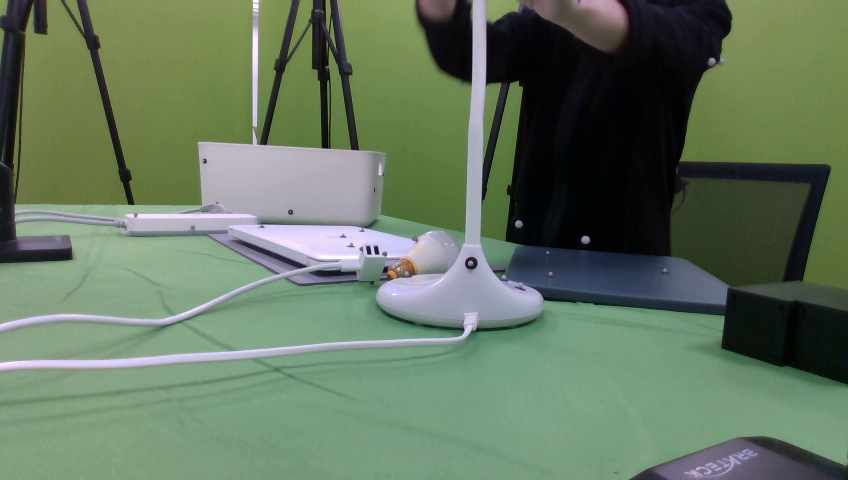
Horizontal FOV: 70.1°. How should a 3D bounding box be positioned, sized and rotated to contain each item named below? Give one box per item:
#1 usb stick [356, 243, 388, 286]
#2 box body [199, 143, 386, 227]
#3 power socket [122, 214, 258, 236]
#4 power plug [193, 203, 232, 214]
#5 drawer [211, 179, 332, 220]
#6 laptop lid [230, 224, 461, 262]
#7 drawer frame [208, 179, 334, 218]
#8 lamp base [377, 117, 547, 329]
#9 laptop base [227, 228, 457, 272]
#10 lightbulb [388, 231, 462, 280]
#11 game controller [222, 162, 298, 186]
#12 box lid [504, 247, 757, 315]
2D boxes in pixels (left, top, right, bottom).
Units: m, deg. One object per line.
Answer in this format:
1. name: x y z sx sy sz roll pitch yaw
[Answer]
1. usb stick: -0.058 0.029 0.658 0.027 0.059 0.021 -5 52 -18
2. box body: -0.276 -0.124 1.335 0.364 0.160 0.254 3 7 1
3. power socket: -0.399 -0.028 1.049 0.228 0.032 0.072 -3 8 -34
4. power plug: -0.393 -0.042 1.139 0.072 0.052 0.035 -14 2 31
5. drawer: -0.328 -0.095 1.332 0.212 0.073 0.194 5 8 6
6. laptop lid: -0.120 0.000 0.889 0.243 0.013 0.355 1 7 -33
7. drawer frame: -0.327 -0.093 1.328 0.213 0.082 0.202 0 5 6
8. lamp base: 0.041 -0.019 0.551 0.161 0.180 0.179 1 10 -10
9. laptop base: -0.122 0.012 0.889 0.237 0.023 0.352 2 6 -35
10. lightbulb: -0.001 0.026 0.703 0.059 0.059 0.108 10 26 43
11. game controller: -0.357 -0.143 1.322 0.156 0.051 0.097 1 2 -16
12. box lid: 0.244 0.044 0.793 0.263 0.015 0.372 4 7 11
